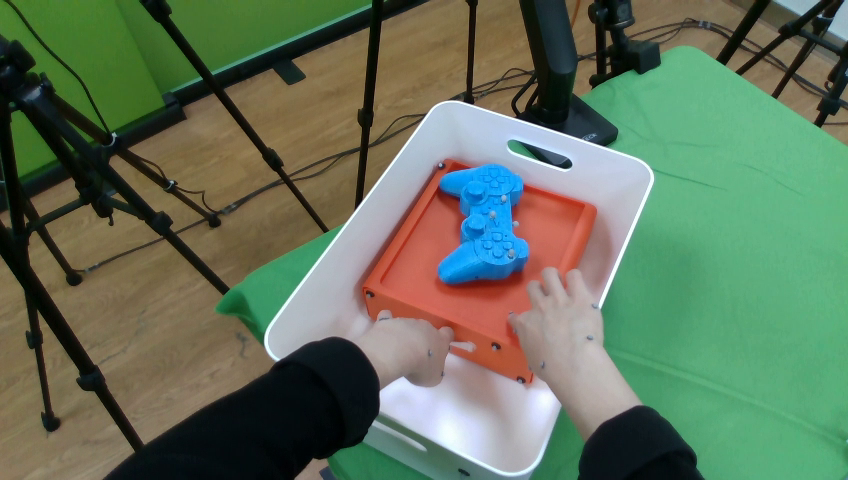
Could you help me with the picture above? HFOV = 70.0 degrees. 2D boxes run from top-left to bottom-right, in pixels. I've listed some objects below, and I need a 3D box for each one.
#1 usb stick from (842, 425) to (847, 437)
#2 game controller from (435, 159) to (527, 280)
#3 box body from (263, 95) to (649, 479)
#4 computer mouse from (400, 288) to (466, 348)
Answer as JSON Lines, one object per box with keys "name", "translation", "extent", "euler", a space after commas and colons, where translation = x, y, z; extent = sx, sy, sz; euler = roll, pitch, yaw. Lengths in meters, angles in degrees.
{"name": "usb stick", "translation": [0.443, 0.201, 0.589], "extent": [0.021, 0.027, 0.058], "euler": [-26, 61, -22]}
{"name": "game controller", "translation": [0.061, -0.029, 0.671], "extent": [0.097, 0.052, 0.153], "euler": [2, 55, 0]}
{"name": "box body", "translation": [0.048, 0.048, 0.637], "extent": [0.253, 0.162, 0.362], "euler": [22, 58, 16]}
{"name": "computer mouse", "translation": [0.012, 0.081, 0.676], "extent": [0.062, 0.041, 0.117], "euler": [-4, 15, 10]}
